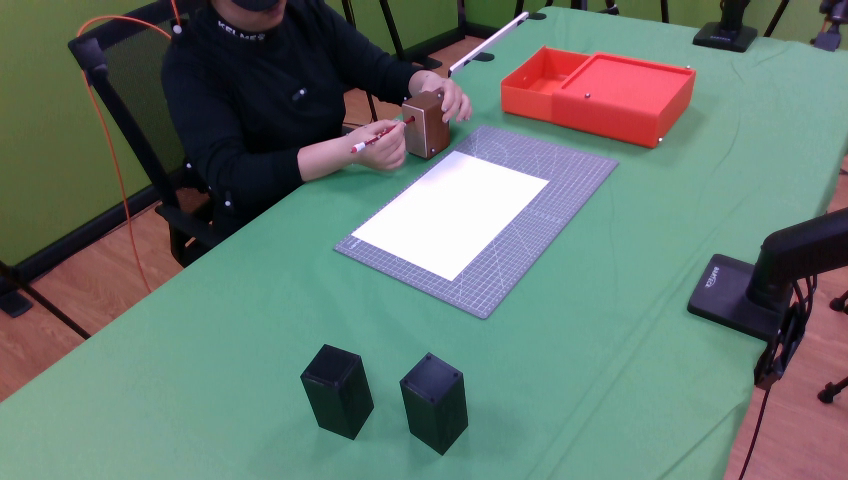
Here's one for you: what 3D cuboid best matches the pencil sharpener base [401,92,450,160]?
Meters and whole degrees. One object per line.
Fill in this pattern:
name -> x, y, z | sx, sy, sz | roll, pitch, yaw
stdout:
pencil sharpener base -> 0.006, -0.220, 1.162 | 0.061, 0.107, 0.077 | 24, 45, 34

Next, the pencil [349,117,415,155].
pencil -> -0.060, -0.196, 1.092 | 0.012, 0.012, 0.195 | 28, 48, 35

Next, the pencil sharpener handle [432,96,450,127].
pencil sharpener handle -> 0.037, -0.255, 1.185 | 0.035, 0.068, 0.031 | 29, 48, 30

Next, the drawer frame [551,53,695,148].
drawer frame -> 0.391, -0.281, 1.196 | 0.212, 0.083, 0.202 | 22, 48, 29

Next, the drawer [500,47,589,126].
drawer -> 0.295, -0.316, 1.255 | 0.210, 0.073, 0.195 | 22, 47, 29
